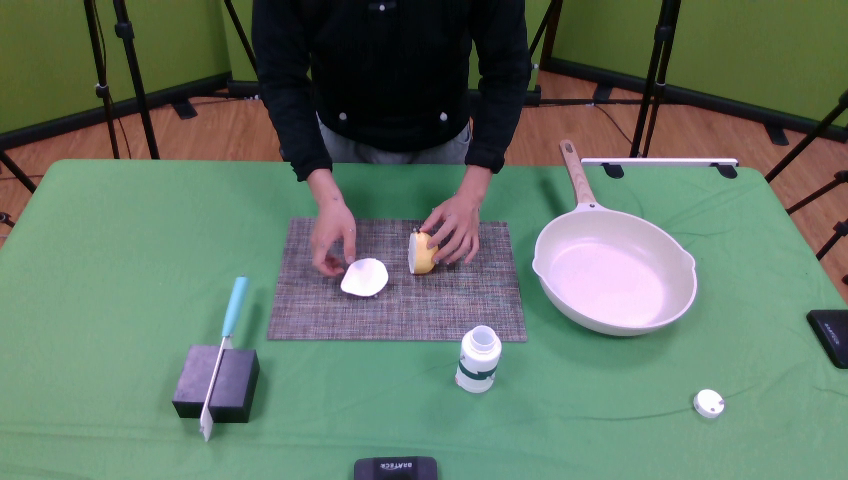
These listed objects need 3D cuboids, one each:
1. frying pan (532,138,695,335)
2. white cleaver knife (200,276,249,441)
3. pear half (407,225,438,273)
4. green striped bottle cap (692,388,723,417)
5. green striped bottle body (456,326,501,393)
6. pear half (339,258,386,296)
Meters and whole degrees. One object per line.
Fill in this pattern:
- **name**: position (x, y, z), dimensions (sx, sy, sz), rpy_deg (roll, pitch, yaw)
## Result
- **frying pan**: position (0.336, -0.024, 1.190), dimensions (0.307, 0.103, 0.484), rpy_deg (-2, 55, -7)
- **white cleaver knife**: position (-0.321, 0.177, 0.972), dimensions (0.021, 0.066, 0.284), rpy_deg (6, 48, -4)
- **pear half**: position (-0.001, 0.011, 1.121), dimensions (0.056, 0.110, 0.076), rpy_deg (-8, 51, -13)
- **green striped bottle cap**: position (0.460, 0.263, 0.984), dimensions (0.044, 0.020, 0.044), rpy_deg (3, 47, -3)
- **green striped bottle body**: position (0.086, 0.185, 0.959), dimensions (0.063, 0.120, 0.063), rpy_deg (2, 46, -2)
- **pear half**: position (-0.112, 0.072, 1.106), dimensions (0.088, 0.031, 0.070), rpy_deg (-25, 68, -11)
